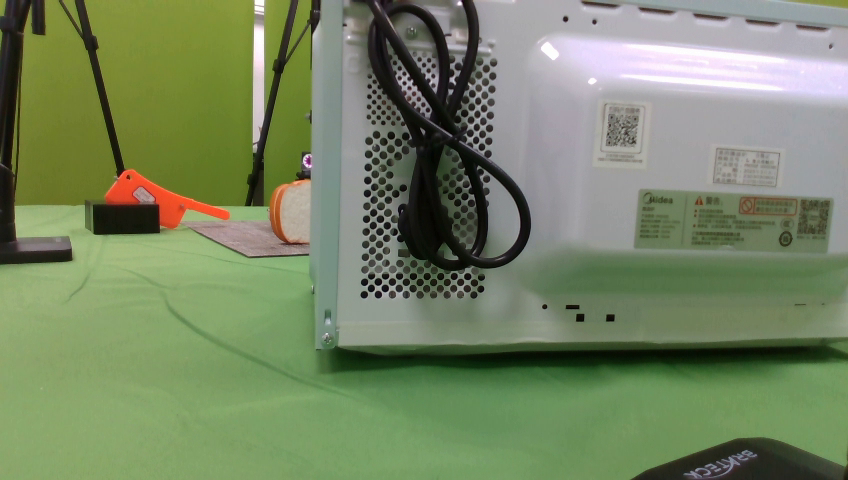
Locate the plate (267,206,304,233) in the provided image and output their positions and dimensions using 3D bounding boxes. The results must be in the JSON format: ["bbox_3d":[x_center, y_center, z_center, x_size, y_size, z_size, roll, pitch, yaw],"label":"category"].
[{"bbox_3d":[-0.197,-0.039,1.175,0.208,0.039,0.207,2,7,0],"label":"plate"}]

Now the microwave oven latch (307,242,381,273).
[{"bbox_3d":[-0.086,0.019,0.656,0.079,0.029,0.030,2,7,-10],"label":"microwave oven latch"}]

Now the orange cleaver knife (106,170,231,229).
[{"bbox_3d":[-0.458,-0.060,1.097,0.212,0.077,0.012,23,-5,-38],"label":"orange cleaver knife"}]

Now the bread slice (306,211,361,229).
[{"bbox_3d":[-0.173,-0.041,1.173,0.107,0.018,0.134,-2,10,-8],"label":"bread slice"}]

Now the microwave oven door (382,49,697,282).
[{"bbox_3d":[0.135,-0.077,0.685,0.357,0.243,0.039,1,8,-12],"label":"microwave oven door"}]

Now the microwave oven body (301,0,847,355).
[{"bbox_3d":[0.120,-0.053,0.535,0.443,0.260,0.325,2,7,-11],"label":"microwave oven body"}]
